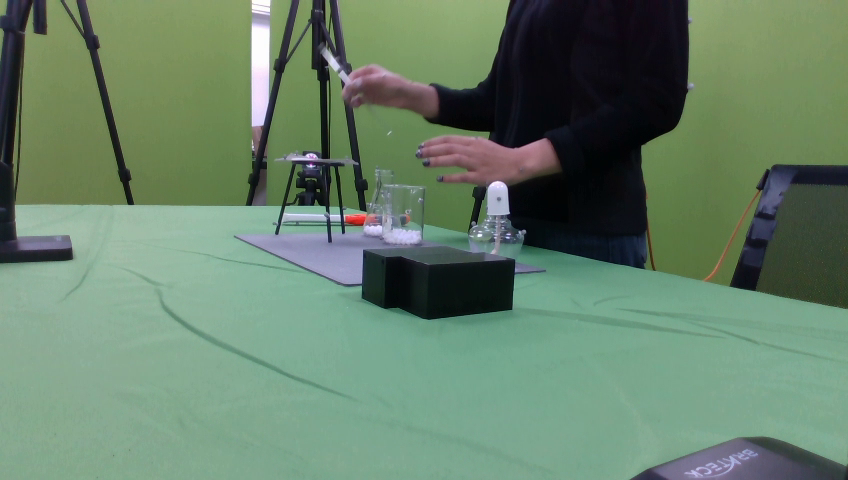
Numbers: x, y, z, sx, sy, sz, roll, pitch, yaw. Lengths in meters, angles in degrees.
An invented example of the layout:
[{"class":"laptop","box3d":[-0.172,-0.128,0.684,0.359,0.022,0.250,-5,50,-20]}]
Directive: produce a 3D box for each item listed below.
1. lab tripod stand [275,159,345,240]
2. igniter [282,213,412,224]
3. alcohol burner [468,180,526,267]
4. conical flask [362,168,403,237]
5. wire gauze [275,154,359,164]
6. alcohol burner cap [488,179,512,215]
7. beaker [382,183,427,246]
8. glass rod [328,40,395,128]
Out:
[{"class":"lab tripod stand","box3d":[-0.181,-0.072,1.039,0.148,0.131,0.148,4,8,0]},{"class":"igniter","box3d":[-0.159,-0.046,1.287,0.278,0.025,0.057,-1,-2,-21]},{"class":"alcohol burner","box3d":[0.101,-0.022,0.821,0.078,0.119,0.078,4,8,0]},{"class":"conical flask","box3d":[-0.073,-0.069,1.096,0.075,0.122,0.075,2,7,0]},{"class":"wire gauze","box3d":[-0.179,-0.137,1.028,0.121,0.011,0.125,4,8,0]},{"class":"alcohol burner cap","box3d":[0.101,-0.058,0.816,0.034,0.048,0.034,-5,8,1]},{"class":"beaker","box3d":[-0.032,-0.044,1.007,0.074,0.100,0.084,6,7,22]},{"class":"glass rod","box3d":[-0.109,-0.277,1.089,0.008,0.008,0.200,10,-32,48]}]
